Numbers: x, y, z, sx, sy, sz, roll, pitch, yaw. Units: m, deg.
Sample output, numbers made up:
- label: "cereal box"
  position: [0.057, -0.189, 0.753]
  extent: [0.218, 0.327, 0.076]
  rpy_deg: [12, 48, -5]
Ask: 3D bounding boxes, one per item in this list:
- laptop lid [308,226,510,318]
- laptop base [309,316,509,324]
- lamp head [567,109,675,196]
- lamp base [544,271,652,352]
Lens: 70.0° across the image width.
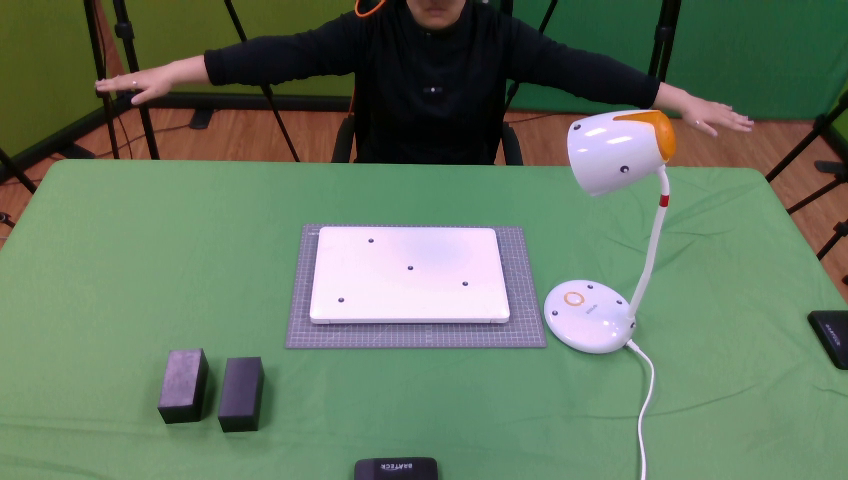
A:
- label: "laptop lid"
  position: [-0.028, 0.054, 1.129]
  extent: [0.357, 0.013, 0.240]
  rpy_deg: [2, 44, -3]
- label: "laptop base"
  position: [-0.028, 0.064, 1.136]
  extent: [0.355, 0.023, 0.234]
  rpy_deg: [0, 43, -4]
- label: "lamp head"
  position: [0.272, -0.123, 0.817]
  extent: [0.122, 0.113, 0.112]
  rpy_deg: [-9, 35, 37]
- label: "lamp base"
  position: [0.310, 0.086, 1.029]
  extent: [0.178, 0.181, 0.160]
  rpy_deg: [32, 52, 21]
